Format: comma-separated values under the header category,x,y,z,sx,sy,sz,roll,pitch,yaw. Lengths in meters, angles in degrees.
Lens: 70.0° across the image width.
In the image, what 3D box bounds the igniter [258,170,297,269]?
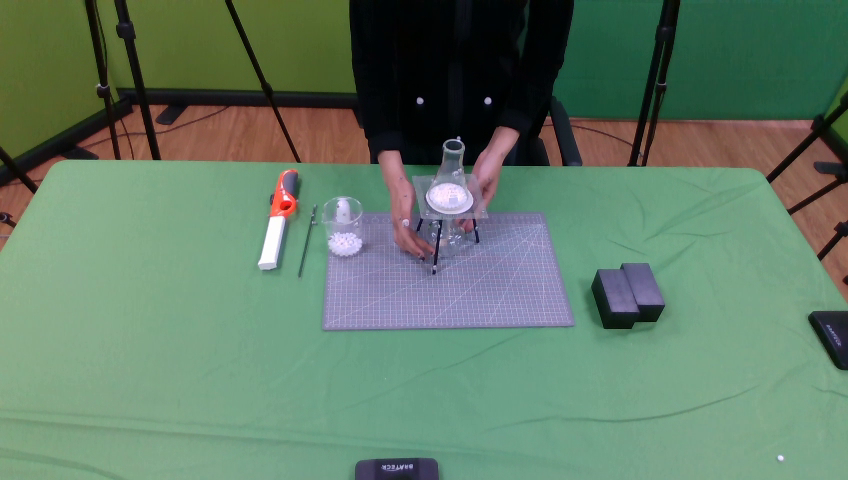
category,x,y,z,sx,sy,sz,roll,pitch,yaw
igniter,-0.294,-0.049,1.221,0.057,0.025,0.274,-5,45,4

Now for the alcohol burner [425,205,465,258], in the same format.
category,x,y,z,sx,sy,sz,roll,pitch,yaw
alcohol burner,0.041,-0.023,1.158,0.078,0.119,0.077,3,47,-3

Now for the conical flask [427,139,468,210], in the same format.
category,x,y,z,sx,sy,sz,roll,pitch,yaw
conical flask,0.046,-0.117,1.061,0.075,0.122,0.075,3,46,-3

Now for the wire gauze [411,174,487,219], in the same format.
category,x,y,z,sx,sy,sz,roll,pitch,yaw
wire gauze,0.044,-0.079,1.107,0.125,0.011,0.120,-4,44,-6

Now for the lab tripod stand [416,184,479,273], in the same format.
category,x,y,z,sx,sy,sz,roll,pitch,yaw
lab tripod stand,0.042,-0.031,1.152,0.148,0.132,0.147,3,44,-3

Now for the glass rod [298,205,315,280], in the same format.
category,x,y,z,sx,sy,sz,roll,pitch,yaw
glass rod,-0.231,0.000,1.191,0.008,0.008,0.198,2,46,-2

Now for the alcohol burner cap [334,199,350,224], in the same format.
category,x,y,z,sx,sy,sz,roll,pitch,yaw
alcohol burner cap,-0.167,-0.061,1.228,0.034,0.048,0.033,3,46,-2

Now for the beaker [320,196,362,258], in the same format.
category,x,y,z,sx,sy,sz,roll,pitch,yaw
beaker,-0.156,-0.020,1.150,0.084,0.101,0.073,-30,54,-28
